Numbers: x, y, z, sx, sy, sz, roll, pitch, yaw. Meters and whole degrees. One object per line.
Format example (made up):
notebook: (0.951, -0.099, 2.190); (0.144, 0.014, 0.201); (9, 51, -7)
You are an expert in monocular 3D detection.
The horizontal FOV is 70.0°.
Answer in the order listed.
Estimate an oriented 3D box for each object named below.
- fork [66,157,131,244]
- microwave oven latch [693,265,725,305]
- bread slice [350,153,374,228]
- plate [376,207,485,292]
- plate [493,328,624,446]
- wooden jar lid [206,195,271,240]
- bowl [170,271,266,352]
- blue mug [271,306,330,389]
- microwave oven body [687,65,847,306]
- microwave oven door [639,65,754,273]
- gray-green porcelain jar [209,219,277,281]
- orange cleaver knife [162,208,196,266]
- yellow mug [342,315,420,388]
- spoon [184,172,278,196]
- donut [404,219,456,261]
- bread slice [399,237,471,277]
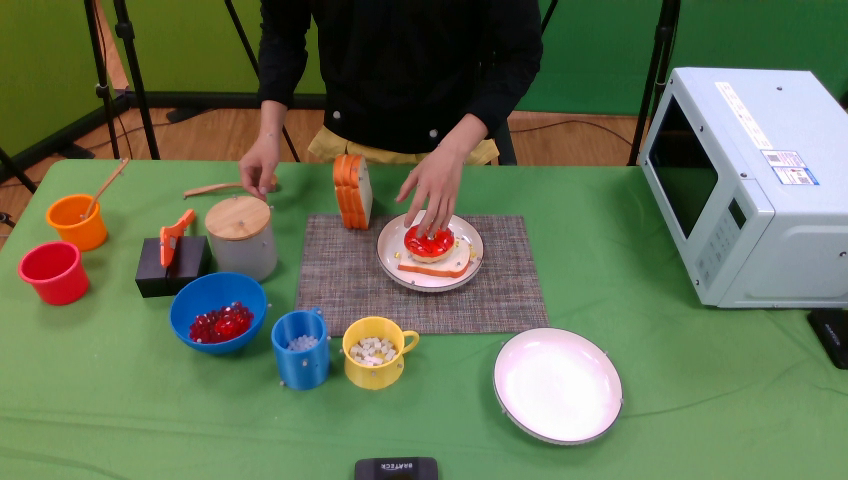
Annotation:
fork: (-0.608, -0.074, 1.132); (0.207, 0.019, 0.028); (-52, 48, 10)
microwave oven latch: (0.522, 0.081, 1.115); (0.030, 0.029, 0.078); (2, 46, -1)
bread slice: (-0.124, -0.104, 1.207); (0.018, 0.135, 0.106); (-2, 47, 7)
plate: (0.012, 0.021, 1.159); (0.209, 0.038, 0.208); (2, 47, -2)
plate: (0.213, 0.236, 0.974); (0.208, 0.039, 0.206); (2, 46, -2)
wooden jar lid: (-0.319, -0.036, 1.046); (0.108, 0.021, 0.107); (1, 44, -1)
bowl: (-0.334, 0.132, 1.006); (0.151, 0.077, 0.150); (2, 46, -2)
blue mug: (-0.188, 0.163, 0.969); (0.082, 0.106, 0.116); (15, 47, 10)
microwave oven body: (0.669, -0.111, 1.176); (0.326, 0.261, 0.439); (0, 46, -3)
microwave oven door: (0.522, -0.147, 1.192); (0.039, 0.245, 0.353); (0, 47, -3)
gray-green porcelain jar: (-0.323, 0.007, 1.092); (0.106, 0.127, 0.105); (2, 46, -2)
orange cleaver knife: (-0.454, -0.010, 1.129); (0.012, 0.077, 0.210); (-1, 17, -6)
yellow mug: (-0.068, 0.177, 0.991); (0.131, 0.064, 0.099); (-15, 50, -19)
spoon: (-0.405, -0.116, 1.275); (0.194, 0.022, 0.041); (-8, 66, -12)
donut: (0.012, -0.001, 1.141); (0.099, 0.048, 0.098); (0, 44, 0)
bread slice: (0.025, 0.024, 1.161); (0.131, 0.019, 0.104); (7, 47, 7)
